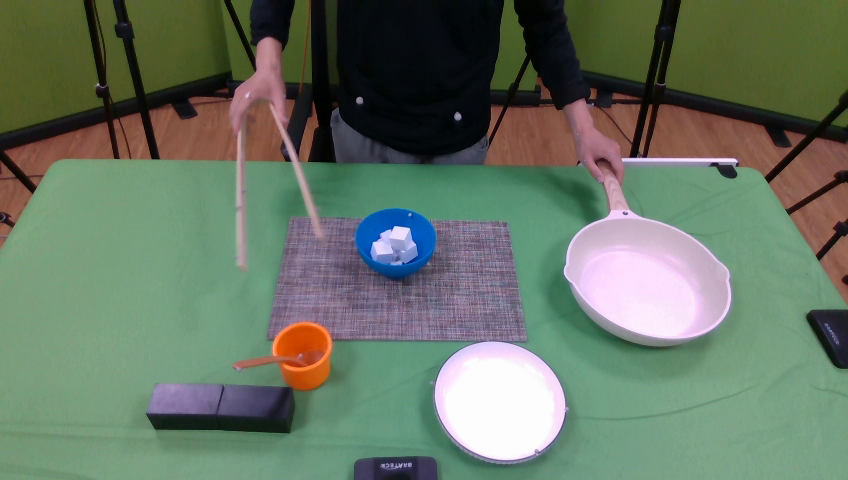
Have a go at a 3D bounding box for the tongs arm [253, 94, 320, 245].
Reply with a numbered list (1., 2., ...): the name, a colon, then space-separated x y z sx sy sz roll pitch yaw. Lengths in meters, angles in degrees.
1. tongs arm: -0.249 -0.140 1.097 0.028 0.028 0.385 -29 58 3

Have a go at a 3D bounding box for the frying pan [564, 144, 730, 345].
1. frying pan: 0.396 -0.008 1.179 0.307 0.103 0.484 0 55 -5

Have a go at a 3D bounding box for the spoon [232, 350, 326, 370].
1. spoon: -0.216 0.182 0.919 0.041 0.194 0.021 43 102 27

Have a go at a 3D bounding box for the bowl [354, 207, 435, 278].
1. bowl: -0.055 0.018 1.132 0.151 0.077 0.150 2 46 -2

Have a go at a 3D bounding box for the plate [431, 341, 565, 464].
1. plate: 0.114 0.255 0.952 0.208 0.039 0.206 3 46 -2

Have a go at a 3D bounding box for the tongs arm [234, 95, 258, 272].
1. tongs arm: -0.321 -0.115 1.101 0.051 0.027 0.382 -17 58 7
